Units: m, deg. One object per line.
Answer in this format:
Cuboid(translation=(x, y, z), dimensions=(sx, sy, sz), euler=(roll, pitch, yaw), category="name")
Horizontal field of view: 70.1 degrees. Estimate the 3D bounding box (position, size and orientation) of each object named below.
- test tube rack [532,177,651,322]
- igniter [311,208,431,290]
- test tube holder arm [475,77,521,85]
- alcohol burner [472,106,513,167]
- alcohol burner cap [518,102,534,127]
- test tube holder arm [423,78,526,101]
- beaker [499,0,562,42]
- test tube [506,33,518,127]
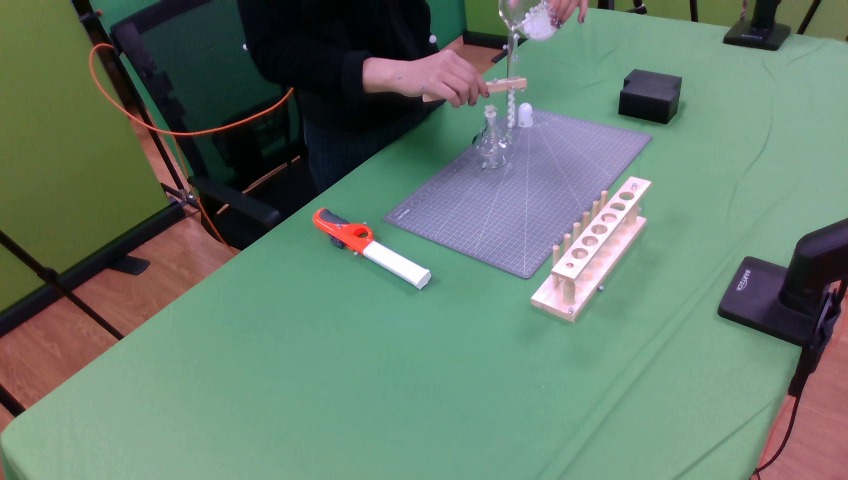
Cuboid(translation=(0.247, 0.002, 0.883), dimensions=(0.066, 0.085, 0.243), euler=(22, 49, 32), category="test tube rack")
Cuboid(translation=(-0.096, 0.008, 0.985), dimensions=(0.274, 0.025, 0.057), euler=(29, 63, 36), category="igniter")
Cuboid(translation=(0.119, -0.249, 0.969), dimensions=(0.088, 0.015, 0.010), euler=(-17, 29, -28), category="test tube holder arm")
Cuboid(translation=(0.126, -0.194, 1.111), dimensions=(0.078, 0.119, 0.077), euler=(-5, 42, 5), category="alcohol burner")
Cuboid(translation=(0.205, -0.255, 1.223), dimensions=(0.034, 0.048, 0.033), euler=(-6, 41, 6), category="alcohol burner cap")
Cuboid(translation=(0.081, -0.236, 0.946), dimensions=(0.179, 0.015, 0.013), euler=(-13, 27, -21), category="test tube holder arm")
Cuboid(translation=(0.173, -0.362, 0.968), dimensions=(0.073, 0.084, 0.101), euler=(25, 12, 29), category="beaker")
Cuboid(translation=(0.142, -0.255, 0.974), dimensions=(0.017, 0.150, 0.017), euler=(-2, 27, 2), category="test tube")
